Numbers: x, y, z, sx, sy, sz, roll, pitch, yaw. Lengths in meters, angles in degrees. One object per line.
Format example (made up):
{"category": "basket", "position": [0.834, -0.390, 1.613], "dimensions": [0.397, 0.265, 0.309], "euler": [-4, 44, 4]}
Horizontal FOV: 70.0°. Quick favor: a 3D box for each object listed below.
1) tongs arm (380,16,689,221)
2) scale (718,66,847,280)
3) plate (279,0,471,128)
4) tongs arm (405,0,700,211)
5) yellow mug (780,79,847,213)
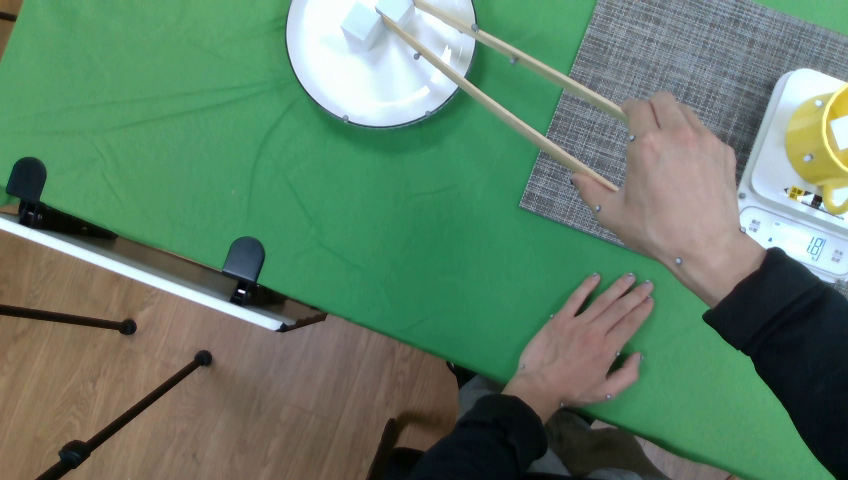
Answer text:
{"category": "tongs arm", "position": [0.072, -0.126, 0.554], "dimensions": [0.028, 0.028, 0.383], "euler": [-46, 56, 0]}
{"category": "scale", "position": [0.416, -0.071, 0.644], "dimensions": [0.148, 0.031, 0.201], "euler": [21, 90, 3]}
{"category": "plate", "position": [-0.052, -0.223, 0.668], "dimensions": [0.207, 0.039, 0.207], "euler": [0, 89, 2]}
{"category": "tongs arm", "position": [0.088, -0.144, 0.552], "dimensions": [0.381, 0.027, 0.051], "euler": [40, 91, 34]}
{"category": "yellow mug", "position": [0.416, -0.091, 0.597], "dimensions": [0.100, 0.064, 0.131], "euler": [11, 90, 2]}
